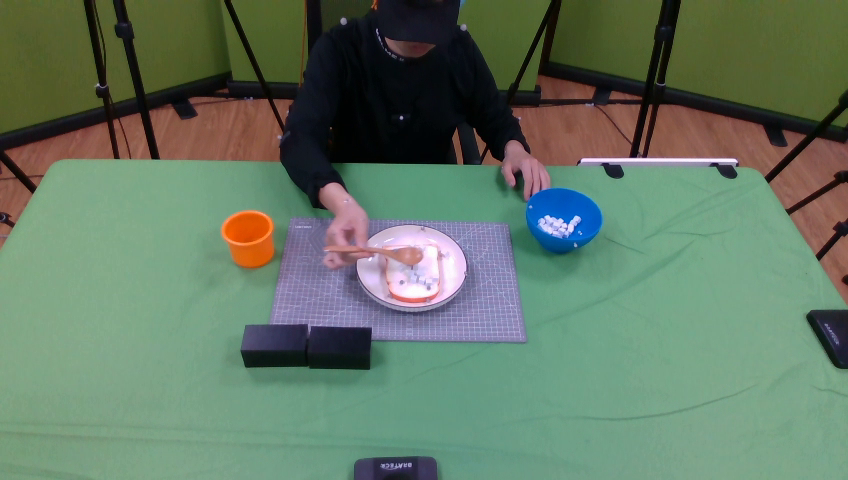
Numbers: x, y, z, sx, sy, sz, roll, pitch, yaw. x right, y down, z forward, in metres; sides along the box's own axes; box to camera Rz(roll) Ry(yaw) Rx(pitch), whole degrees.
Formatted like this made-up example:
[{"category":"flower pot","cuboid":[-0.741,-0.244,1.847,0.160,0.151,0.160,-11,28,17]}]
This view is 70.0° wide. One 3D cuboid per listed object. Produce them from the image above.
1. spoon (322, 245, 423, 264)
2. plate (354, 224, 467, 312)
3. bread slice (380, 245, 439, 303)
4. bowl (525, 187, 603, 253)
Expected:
[{"category":"spoon","cuboid":[-0.087,0.020,1.059,0.194,0.022,0.041,8,46,-33]},{"category":"plate","cuboid":[-0.025,0.055,1.128,0.209,0.038,0.208,3,46,-3]},{"category":"bread slice","cuboid":[-0.022,0.061,1.126,0.107,0.018,0.133,-3,45,-8]},{"category":"bowl","cuboid":[0.271,-0.028,1.206,0.151,0.077,0.150,2,46,-2]}]
